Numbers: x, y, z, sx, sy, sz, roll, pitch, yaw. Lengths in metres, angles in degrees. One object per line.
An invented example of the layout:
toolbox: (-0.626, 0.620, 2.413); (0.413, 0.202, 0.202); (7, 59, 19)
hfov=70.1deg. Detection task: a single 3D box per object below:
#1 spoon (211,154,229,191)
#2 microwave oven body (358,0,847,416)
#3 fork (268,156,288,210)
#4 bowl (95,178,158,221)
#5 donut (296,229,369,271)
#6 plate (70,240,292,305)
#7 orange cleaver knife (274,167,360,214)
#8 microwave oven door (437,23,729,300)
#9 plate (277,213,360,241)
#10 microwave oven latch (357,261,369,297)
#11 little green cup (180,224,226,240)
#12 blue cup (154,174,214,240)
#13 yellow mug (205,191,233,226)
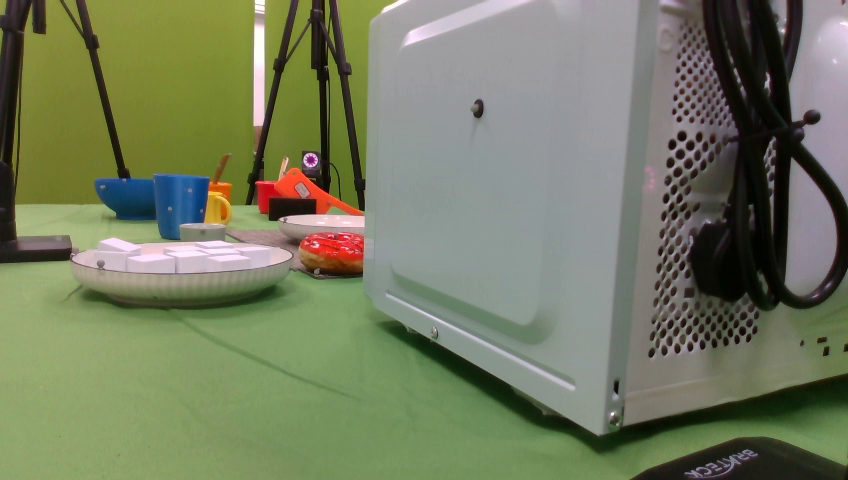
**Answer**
spoon: (-0.431, -0.115, 1.253); (0.042, 0.193, 0.021); (-3, 54, -33)
microwave oven body: (0.211, -0.047, 0.474); (0.444, 0.260, 0.324); (-1, 7, -28)
fork: (-0.360, -0.144, 1.507); (0.028, 0.018, 0.207); (1, 49, 0)
bowl: (-0.576, -0.081, 1.217); (0.151, 0.077, 0.151); (3, 8, 0)
donut: (-0.106, 0.014, 0.739); (0.099, 0.048, 0.099); (4, 8, 0)
plate: (-0.242, 0.031, 0.618); (0.208, 0.039, 0.207); (2, 8, 0)
orange cleaver knife: (-0.238, -0.091, 1.381); (0.212, 0.077, 0.012); (31, 2, -19)
microwave oven door: (0.181, -0.072, 0.621); (0.358, 0.243, 0.039); (-2, 8, -29)
plate: (-0.135, -0.017, 0.993); (0.209, 0.038, 0.209); (3, 8, 0)
microwave oven latch: (-0.019, 0.033, 0.530); (0.079, 0.029, 0.030); (-1, 7, -26)
little green cup: (-0.309, -0.001, 0.846); (0.061, 0.038, 0.061); (2, 8, 0)
blue cup: (-0.391, -0.053, 0.978); (0.093, 0.100, 0.092); (3, 6, 0)
yellow mug: (-0.415, -0.057, 1.132); (0.130, 0.064, 0.100); (6, 8, 16)
